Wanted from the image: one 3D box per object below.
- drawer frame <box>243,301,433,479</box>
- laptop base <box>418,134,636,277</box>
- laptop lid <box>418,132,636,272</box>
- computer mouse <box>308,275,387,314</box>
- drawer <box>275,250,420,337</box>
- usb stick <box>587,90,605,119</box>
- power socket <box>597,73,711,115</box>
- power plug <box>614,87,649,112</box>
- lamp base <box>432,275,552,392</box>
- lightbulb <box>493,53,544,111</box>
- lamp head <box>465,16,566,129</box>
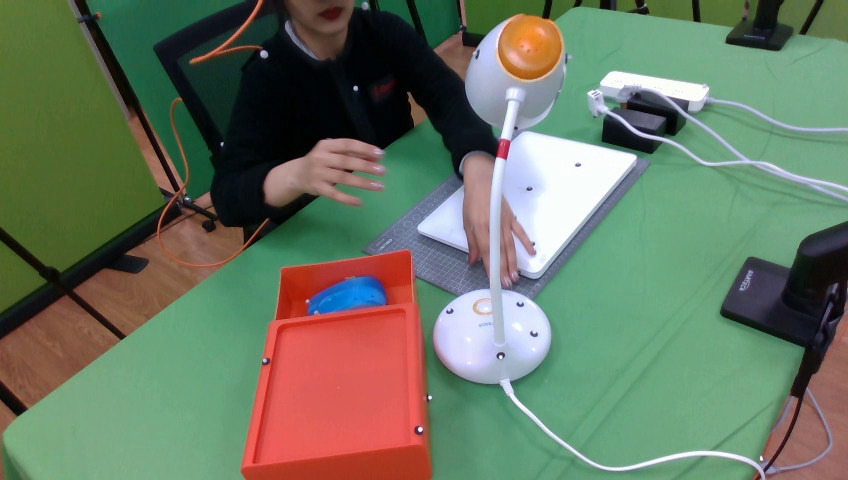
[{"bbox_3d":[-0.096,0.185,0.738,0.202,0.083,0.212,-8,40,1],"label":"drawer frame"},{"bbox_3d":[0.184,-0.075,1.041,0.233,0.023,0.355,19,47,35],"label":"laptop base"},{"bbox_3d":[0.181,-0.084,1.036,0.239,0.013,0.358,22,49,35],"label":"laptop lid"},{"bbox_3d":[-0.112,0.089,0.881,0.117,0.041,0.062,-16,42,-1],"label":"computer mouse"},{"bbox_3d":[-0.104,0.117,0.825,0.194,0.073,0.210,-8,40,1],"label":"drawer"},{"bbox_3d":[0.334,-0.258,1.171,0.021,0.059,0.027,-28,44,-4],"label":"usb stick"},{"bbox_3d":[0.469,-0.304,1.249,0.225,0.033,0.072,20,49,30],"label":"power socket"},{"bbox_3d":[0.406,-0.275,1.192,0.035,0.053,0.072,-15,24,-15],"label":"power plug"},{"bbox_3d":[0.085,0.075,0.756,0.161,0.181,0.178,-14,44,-6],"label":"lamp base"},{"bbox_3d":[0.109,-0.182,0.680,0.059,0.059,0.108,-9,-4,1],"label":"lightbulb"},{"bbox_3d":[0.102,-0.185,0.655,0.112,0.112,0.123,-10,0,0],"label":"lamp head"}]
